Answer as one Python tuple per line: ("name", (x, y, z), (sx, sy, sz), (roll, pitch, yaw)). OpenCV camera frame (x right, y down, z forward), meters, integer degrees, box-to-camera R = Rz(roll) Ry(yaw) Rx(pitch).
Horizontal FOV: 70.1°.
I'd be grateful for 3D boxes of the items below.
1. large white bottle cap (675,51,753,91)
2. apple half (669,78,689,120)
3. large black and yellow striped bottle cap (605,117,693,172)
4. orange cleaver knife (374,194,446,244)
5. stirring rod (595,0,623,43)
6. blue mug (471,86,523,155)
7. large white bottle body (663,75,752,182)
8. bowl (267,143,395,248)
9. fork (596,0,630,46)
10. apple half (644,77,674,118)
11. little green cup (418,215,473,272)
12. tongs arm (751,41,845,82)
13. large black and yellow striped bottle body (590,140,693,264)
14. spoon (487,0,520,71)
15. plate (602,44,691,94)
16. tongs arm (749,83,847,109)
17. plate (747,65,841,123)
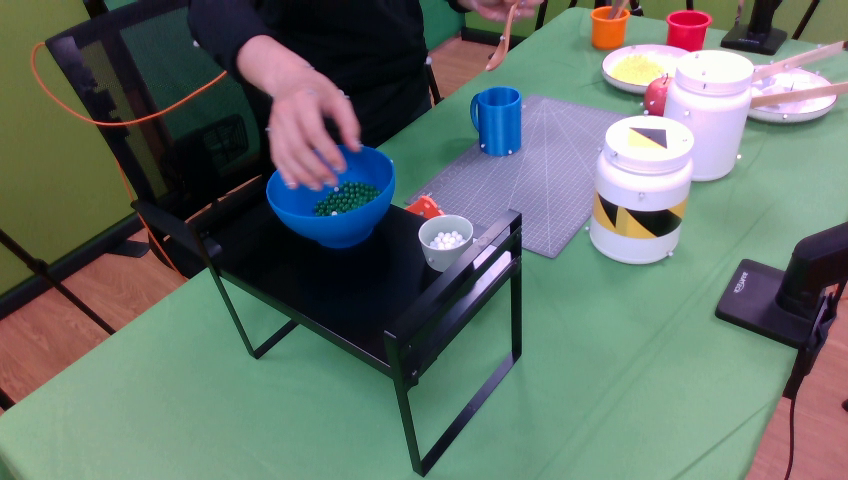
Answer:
("large white bottle cap", (0.463, -0.271, 0.967), (0.115, 0.018, 0.114), (-4, 40, 4))
("apple half", (0.498, -0.273, 1.180), (0.032, 0.082, 0.081), (7, 42, 25))
("large black and yellow striped bottle cap", (0.309, -0.134, 0.833), (0.115, 0.019, 0.114), (-5, 40, 5))
("orange cleaver knife", (-0.032, -0.026, 0.964), (0.210, 0.077, 0.012), (-10, 29, 51))
("stirring rod", (0.460, -0.556, 1.460), (0.014, 0.006, 0.176), (30, 93, 23))
("blue mug", (0.135, -0.235, 1.163), (0.082, 0.106, 0.115), (-36, 48, -28))
("large white bottle body", (0.472, -0.207, 1.022), (0.130, 0.185, 0.130), (-4, 41, 4))
("bowl", (-0.104, -0.043, 0.726), (0.151, 0.077, 0.150), (-4, 40, 4))
("fork", (0.481, -0.556, 1.452), (0.028, 0.019, 0.207), (40, 103, 40))
("apple half", (0.463, -0.279, 1.194), (0.053, 0.075, 0.081), (8, 46, 24))
("little green cup", (0.026, 0.005, 0.678), (0.061, 0.039, 0.061), (-4, 40, 4))
("tongs arm", (0.708, -0.331, 1.193), (0.386, 0.026, 0.050), (-19, 45, -16))
("large black and yellow striped bottle body", (0.317, -0.071, 0.889), (0.131, 0.185, 0.130), (-4, 41, 4))
("spoon", (0.147, -0.369, 0.992), (0.022, 0.193, 0.041), (16, 12, -18))
("plate", (0.494, -0.367, 1.317), (0.209, 0.038, 0.208), (-4, 40, 4))
("tongs arm", (0.735, -0.279, 1.134), (0.388, 0.028, 0.028), (-9, 47, -5))
("plate", (0.694, -0.283, 1.189), (0.207, 0.039, 0.206), (-4, 40, 4))
